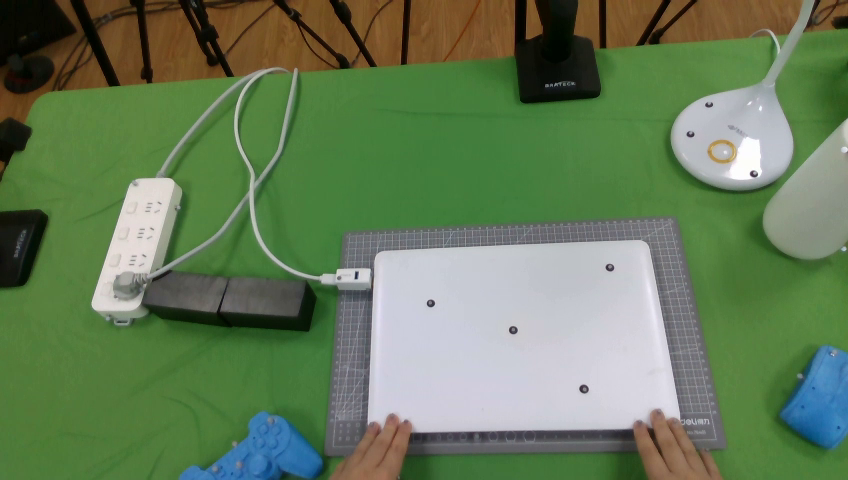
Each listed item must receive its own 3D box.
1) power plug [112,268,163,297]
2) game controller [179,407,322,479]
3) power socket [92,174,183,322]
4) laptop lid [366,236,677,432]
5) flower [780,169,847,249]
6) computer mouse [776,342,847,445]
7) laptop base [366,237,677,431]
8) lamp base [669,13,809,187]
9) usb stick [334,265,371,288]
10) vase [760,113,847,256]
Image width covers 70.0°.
[{"bbox_3d":[-0.370,0.060,0.788,0.072,0.053,0.035,10,63,9],"label":"power plug"},{"bbox_3d":[-0.202,0.260,0.680,0.155,0.052,0.096,-37,62,-14],"label":"game controller"},{"bbox_3d":[-0.394,0.003,0.842,0.072,0.033,0.225,0,62,5],"label":"power socket"},{"bbox_3d":[0.107,0.108,0.731,0.356,0.013,0.239,-1,65,5],"label":"laptop lid"},{"bbox_3d":[0.474,-0.109,0.625,0.038,0.364,0.043,-7,50,-17],"label":"flower"},{"bbox_3d":[0.445,0.166,0.668,0.062,0.041,0.117,36,67,25],"label":"computer mouse"},{"bbox_3d":[0.108,0.110,0.742,0.354,0.023,0.233,-3,66,4],"label":"laptop base"},{"bbox_3d":[0.422,-0.188,0.777,0.159,0.182,0.178,29,66,19],"label":"lamp base"},{"bbox_3d":[-0.084,0.047,0.781,0.059,0.027,0.021,2,58,2],"label":"usb stick"},{"bbox_3d":[0.466,-0.062,0.695,0.098,0.202,0.097,-3,60,6],"label":"vase"}]
